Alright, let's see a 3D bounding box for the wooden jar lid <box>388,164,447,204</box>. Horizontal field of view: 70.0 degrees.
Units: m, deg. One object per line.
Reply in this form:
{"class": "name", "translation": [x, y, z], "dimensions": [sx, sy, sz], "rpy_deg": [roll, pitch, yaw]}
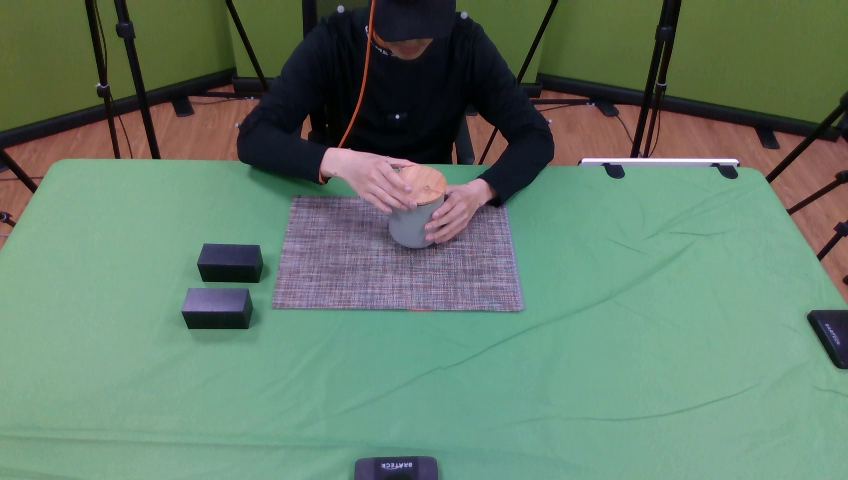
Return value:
{"class": "wooden jar lid", "translation": [-0.012, -0.101, 1.125], "dimensions": [0.108, 0.021, 0.107], "rpy_deg": [0, 45, 0]}

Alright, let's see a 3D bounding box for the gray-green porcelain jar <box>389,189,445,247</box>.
{"class": "gray-green porcelain jar", "translation": [-0.016, -0.057, 1.171], "dimensions": [0.106, 0.127, 0.105], "rpy_deg": [2, 47, -2]}
